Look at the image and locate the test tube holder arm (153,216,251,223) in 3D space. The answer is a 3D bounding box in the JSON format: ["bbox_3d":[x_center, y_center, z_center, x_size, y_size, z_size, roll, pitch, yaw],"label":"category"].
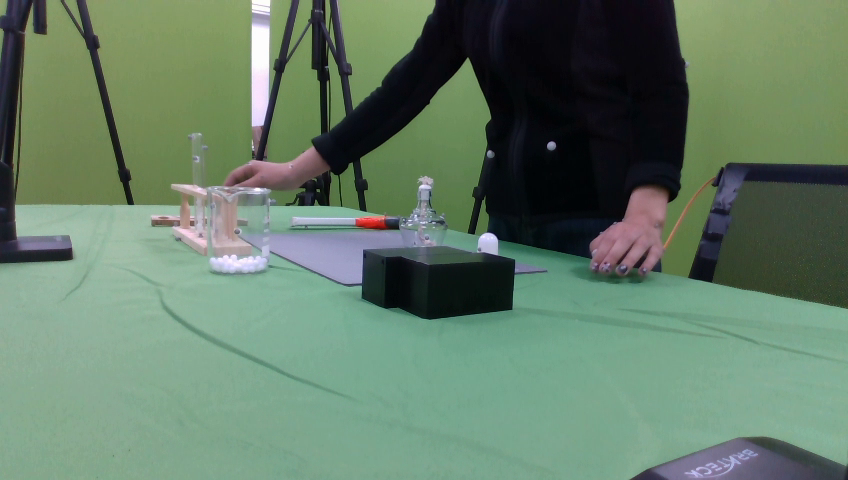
[{"bbox_3d":[-0.422,-0.039,1.159,0.179,0.015,0.013,-2,43,-31],"label":"test tube holder arm"}]

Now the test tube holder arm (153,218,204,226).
[{"bbox_3d":[-0.459,-0.034,1.132,0.088,0.015,0.010,-1,43,-30],"label":"test tube holder arm"}]

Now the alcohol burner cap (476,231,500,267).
[{"bbox_3d":[0.088,0.012,0.830,0.034,0.048,0.034,3,7,0],"label":"alcohol burner cap"}]

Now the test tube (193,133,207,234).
[{"bbox_3d":[-0.335,-0.084,0.904,0.017,0.150,0.017,-1,2,0],"label":"test tube"}]

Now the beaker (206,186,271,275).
[{"bbox_3d":[-0.220,-0.012,0.717,0.074,0.100,0.084,2,8,-3],"label":"beaker"}]

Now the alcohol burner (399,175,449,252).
[{"bbox_3d":[0.000,-0.041,0.937,0.078,0.119,0.078,0,8,0],"label":"alcohol burner"}]

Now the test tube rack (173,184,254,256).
[{"bbox_3d":[-0.328,-0.036,0.927,0.067,0.085,0.241,-2,9,-32],"label":"test tube rack"}]

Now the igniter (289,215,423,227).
[{"bbox_3d":[-0.133,-0.038,1.232,0.278,0.025,0.057,-1,-2,-25],"label":"igniter"}]
